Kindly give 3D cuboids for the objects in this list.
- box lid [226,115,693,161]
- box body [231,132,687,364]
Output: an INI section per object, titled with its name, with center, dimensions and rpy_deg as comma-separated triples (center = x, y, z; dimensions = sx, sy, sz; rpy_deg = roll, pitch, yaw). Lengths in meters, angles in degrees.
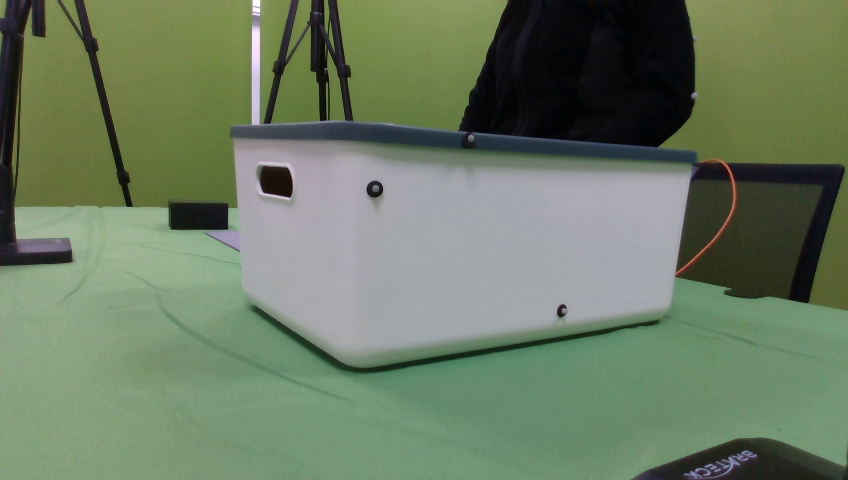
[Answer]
[box lid]
center = 0.031, -0.086, 0.554
dimensions = 0.373, 0.015, 0.262
rpy_deg = -2, 8, -33
[box body]
center = 0.031, -0.013, 0.563
dimensions = 0.366, 0.160, 0.253
rpy_deg = -3, 8, -33
